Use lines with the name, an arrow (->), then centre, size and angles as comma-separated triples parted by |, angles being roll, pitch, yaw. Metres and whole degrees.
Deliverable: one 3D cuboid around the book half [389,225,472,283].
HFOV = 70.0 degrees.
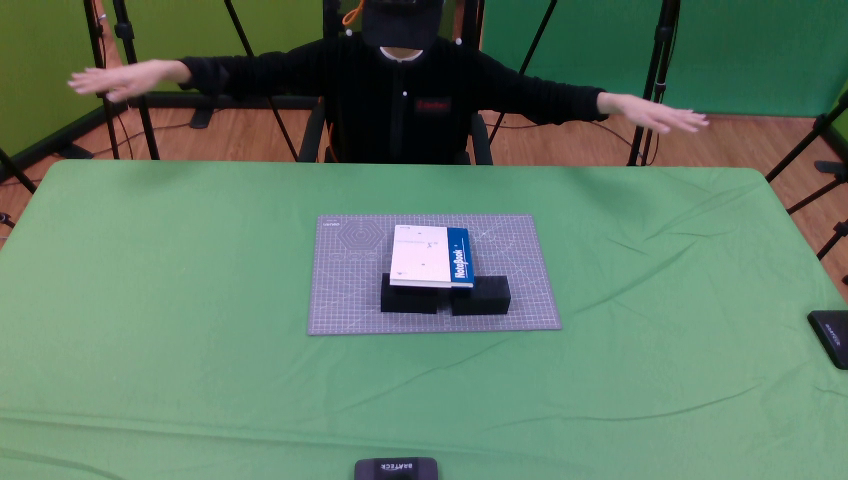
book half -> 0.012, 0.022, 1.128 | 0.143, 0.007, 0.209 | 3, 28, -1
